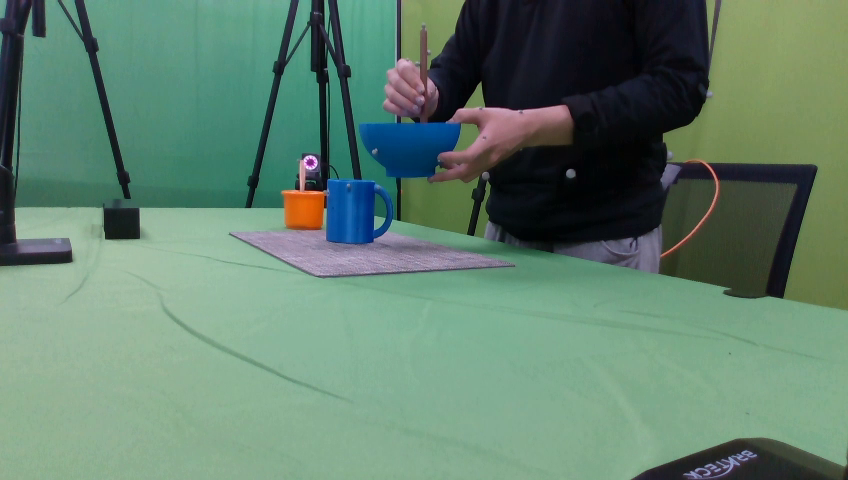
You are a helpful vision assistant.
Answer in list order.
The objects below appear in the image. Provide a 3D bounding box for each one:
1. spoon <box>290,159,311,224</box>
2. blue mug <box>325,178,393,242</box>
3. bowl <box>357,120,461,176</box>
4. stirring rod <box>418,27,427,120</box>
[{"bbox_3d":[-0.256,-0.104,1.265,0.042,0.193,0.021,1,-37,-9],"label":"spoon"},{"bbox_3d":[-0.111,-0.052,1.034,0.116,0.106,0.082,3,7,7],"label":"blue mug"},{"bbox_3d":[-0.021,-0.136,0.883,0.151,0.077,0.151,-1,11,0],"label":"bowl"},{"bbox_3d":[-0.002,-0.211,0.858,0.006,0.176,0.014,-6,10,-37],"label":"stirring rod"}]
